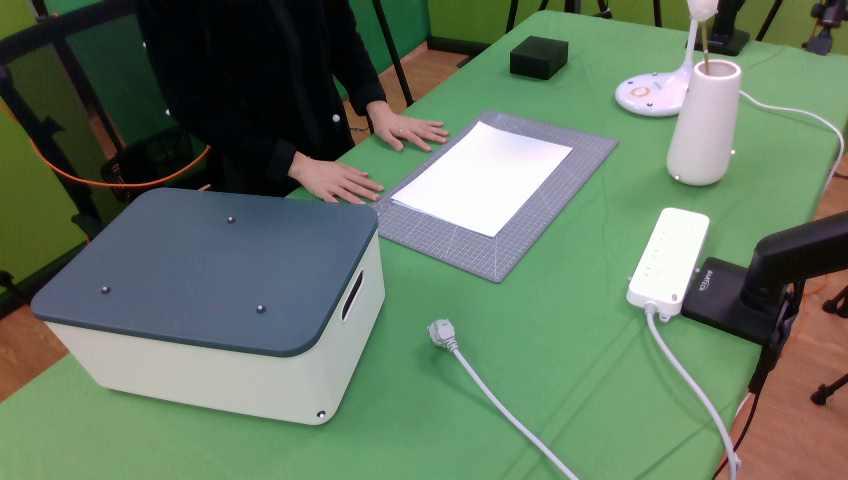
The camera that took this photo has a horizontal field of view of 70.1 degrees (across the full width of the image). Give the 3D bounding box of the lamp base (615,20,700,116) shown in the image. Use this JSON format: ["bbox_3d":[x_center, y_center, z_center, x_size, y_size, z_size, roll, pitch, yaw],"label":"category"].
[{"bbox_3d":[0.484,-0.364,1.211,0.180,0.181,0.159,-15,41,-14],"label":"lamp base"}]

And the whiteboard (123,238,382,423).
[{"bbox_3d":[-0.242,0.094,0.809,0.304,0.144,0.216,5,45,13],"label":"whiteboard"}]

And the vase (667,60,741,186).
[{"bbox_3d":[0.463,-0.189,0.994,0.098,0.201,0.097,-4,40,4],"label":"vase"}]

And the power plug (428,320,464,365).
[{"bbox_3d":[0.027,0.139,0.796,0.035,0.053,0.072,-8,61,-6],"label":"power plug"}]

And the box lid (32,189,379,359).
[{"bbox_3d":[-0.260,0.025,0.758,0.370,0.015,0.263,5,41,14],"label":"box lid"}]

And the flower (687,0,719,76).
[{"bbox_3d":[0.436,-0.242,0.934,0.038,0.364,0.043,-24,49,9],"label":"flower"}]

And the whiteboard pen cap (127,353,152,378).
[{"bbox_3d":[-0.385,0.170,0.819,0.018,0.018,0.033,7,41,16],"label":"whiteboard pen cap"}]

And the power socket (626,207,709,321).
[{"bbox_3d":[0.360,0.026,0.886,0.072,0.033,0.227,17,46,27],"label":"power socket"}]

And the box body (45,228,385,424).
[{"bbox_3d":[-0.254,0.082,0.807,0.363,0.161,0.253,5,42,14],"label":"box body"}]

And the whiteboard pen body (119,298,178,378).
[{"bbox_3d":[-0.396,0.139,0.869,0.017,0.017,0.140,6,46,15],"label":"whiteboard pen body"}]
